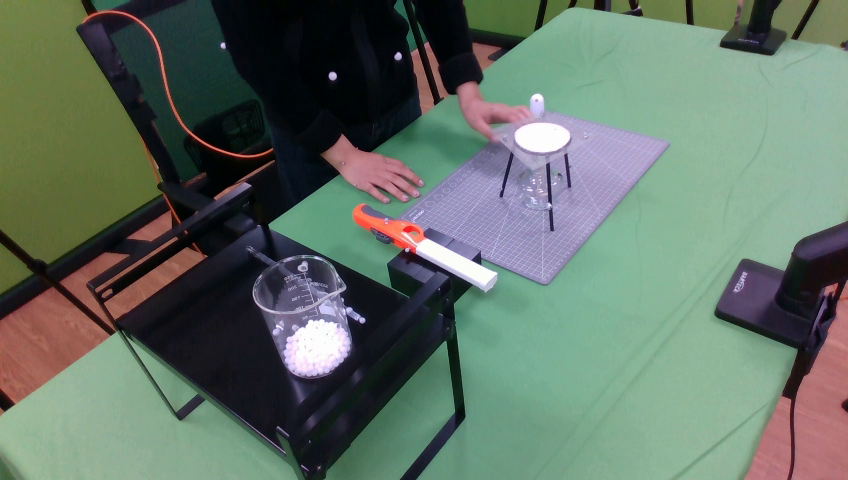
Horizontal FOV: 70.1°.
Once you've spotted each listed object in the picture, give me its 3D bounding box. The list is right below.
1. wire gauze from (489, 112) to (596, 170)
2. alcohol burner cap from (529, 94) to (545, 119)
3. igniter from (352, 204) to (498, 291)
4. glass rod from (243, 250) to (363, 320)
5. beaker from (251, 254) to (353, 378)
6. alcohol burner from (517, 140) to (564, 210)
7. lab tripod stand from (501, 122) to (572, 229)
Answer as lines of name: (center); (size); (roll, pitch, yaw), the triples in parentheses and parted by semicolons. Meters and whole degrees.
wire gauze: (0.183, -0.161, 0.942); (0.122, 0.011, 0.124); (-24, 44, -18)
alcohol burner cap: (0.233, -0.277, 1.247); (0.034, 0.048, 0.033); (-5, 41, 5)
igniter: (-0.009, 0.005, 0.895); (0.274, 0.025, 0.057); (27, 48, 32)
glass rod: (-0.141, 0.046, 0.674); (0.198, 0.008, 0.008); (24, 49, 33)
beaker: (-0.106, 0.074, 0.565); (0.084, 0.101, 0.073); (-1, 41, 8)
alcohol burner: (0.193, -0.110, 1.001); (0.078, 0.119, 0.077); (-5, 38, 5)
lab tripod stand: (0.194, -0.110, 0.985); (0.148, 0.132, 0.147); (-3, 41, 3)
